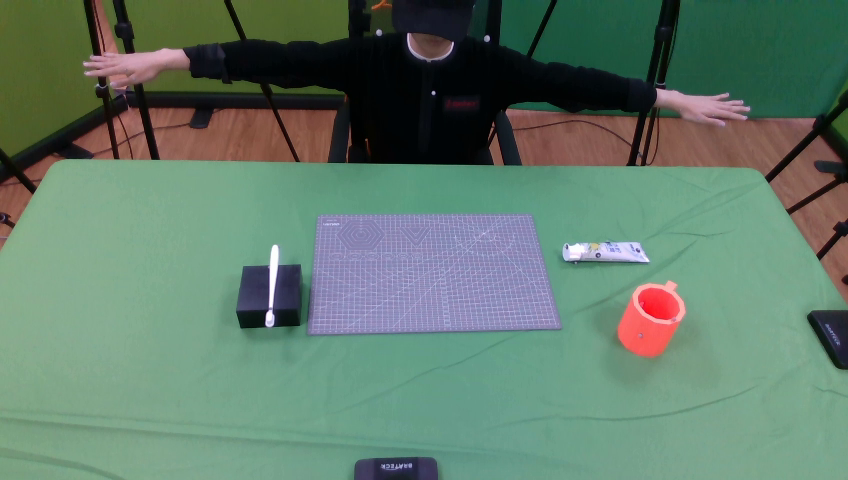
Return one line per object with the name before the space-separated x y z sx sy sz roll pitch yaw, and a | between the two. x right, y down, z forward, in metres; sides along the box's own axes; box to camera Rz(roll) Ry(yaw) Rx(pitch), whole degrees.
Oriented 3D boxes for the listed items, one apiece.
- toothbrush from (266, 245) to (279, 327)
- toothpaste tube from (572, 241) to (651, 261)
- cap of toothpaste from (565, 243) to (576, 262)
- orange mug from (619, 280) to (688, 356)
toothbrush | -0.261 0.073 1.042 0.014 0.017 0.180 -6 46 -3
toothpaste tube | 0.363 0.024 1.191 0.165 0.035 0.054 -2 50 -11
cap of toothpaste | 0.285 0.023 1.178 0.011 0.037 0.037 -3 46 -11
orange mug | 0.401 0.125 1.045 0.083 0.101 0.126 30 56 24
